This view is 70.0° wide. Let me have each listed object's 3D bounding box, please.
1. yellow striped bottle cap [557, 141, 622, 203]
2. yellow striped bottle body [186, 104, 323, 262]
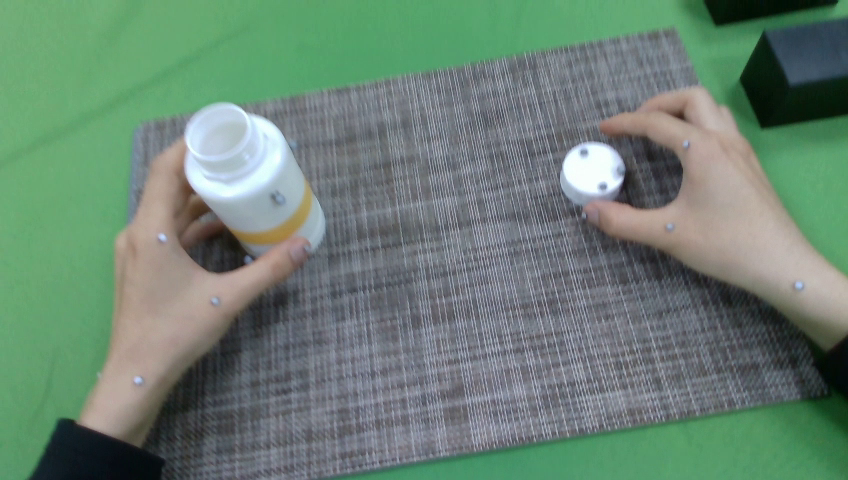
[{"bbox_3d":[0.120,-0.050,0.439,0.044,0.019,0.044,-1,63,2],"label":"yellow striped bottle cap"},{"bbox_3d":[-0.111,-0.037,0.399,0.063,0.121,0.062,-2,64,5],"label":"yellow striped bottle body"}]
